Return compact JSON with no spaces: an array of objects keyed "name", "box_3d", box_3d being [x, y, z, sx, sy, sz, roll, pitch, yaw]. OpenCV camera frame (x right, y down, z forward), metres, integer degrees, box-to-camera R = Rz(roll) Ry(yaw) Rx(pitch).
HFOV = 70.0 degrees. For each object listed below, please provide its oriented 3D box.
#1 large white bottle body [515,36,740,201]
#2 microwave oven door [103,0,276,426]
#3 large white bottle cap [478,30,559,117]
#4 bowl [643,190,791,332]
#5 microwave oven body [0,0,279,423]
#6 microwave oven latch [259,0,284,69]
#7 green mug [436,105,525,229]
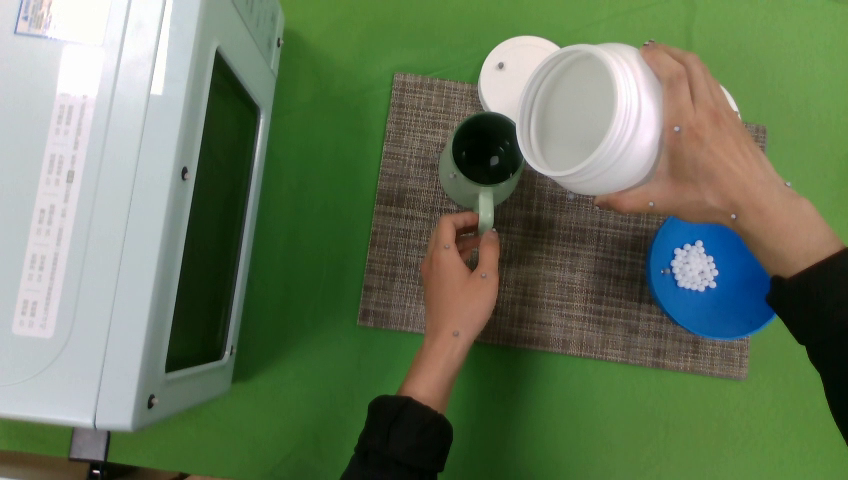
[{"name":"large white bottle body","box_3d":[0.184,-0.107,0.553,0.186,0.130,0.130,3,83,-38]},{"name":"microwave oven door","box_3d":[-0.201,-0.030,0.557,0.039,0.244,0.355,6,84,-1]},{"name":"large white bottle cap","box_3d":[0.121,-0.190,0.709,0.115,0.018,0.114,0,81,-2]},{"name":"bowl","box_3d":[0.306,0.025,0.666,0.151,0.077,0.151,0,84,-1]},{"name":"microwave oven body","box_3d":[-0.341,-0.088,0.562,0.326,0.260,0.440,7,85,-2]},{"name":"microwave oven latch","box_3d":[-0.176,-0.235,0.679,0.030,0.029,0.079,7,85,-2]},{"name":"green mug","box_3d":[0.062,-0.075,0.654,0.092,0.105,0.125,-1,85,-3]}]
